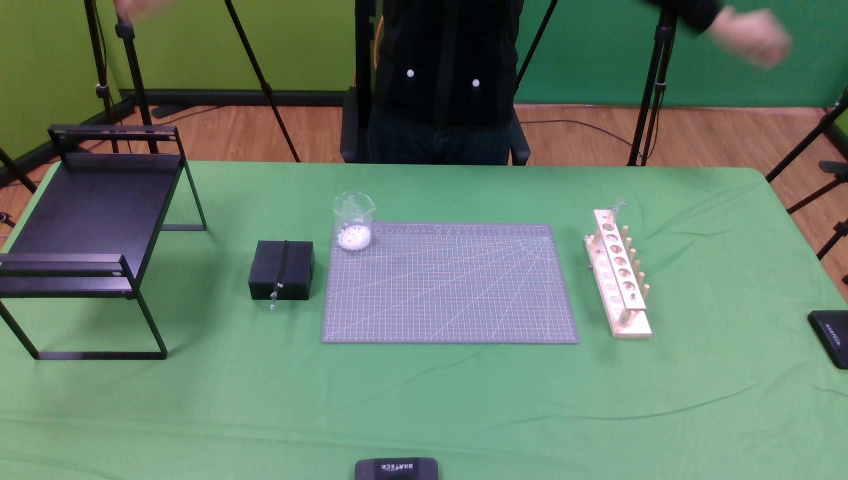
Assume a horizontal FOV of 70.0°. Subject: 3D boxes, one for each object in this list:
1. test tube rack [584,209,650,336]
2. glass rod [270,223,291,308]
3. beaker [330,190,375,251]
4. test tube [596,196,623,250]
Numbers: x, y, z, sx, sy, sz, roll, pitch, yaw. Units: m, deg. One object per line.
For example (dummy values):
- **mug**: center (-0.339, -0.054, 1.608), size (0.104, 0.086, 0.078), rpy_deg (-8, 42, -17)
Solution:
- **test tube rack**: center (0.365, 0.056, 1.129), size (0.067, 0.085, 0.240), rpy_deg (1, 46, -4)
- **glass rod**: center (-0.255, 0.041, 1.081), size (0.008, 0.008, 0.198), rpy_deg (2, 46, -2)
- **beaker**: center (-0.136, -0.034, 1.163), size (0.084, 0.101, 0.073), rpy_deg (3, 46, -3)
- **test tube**: center (0.348, -0.029, 1.140), size (0.017, 0.151, 0.017), rpy_deg (0, 53, 0)
